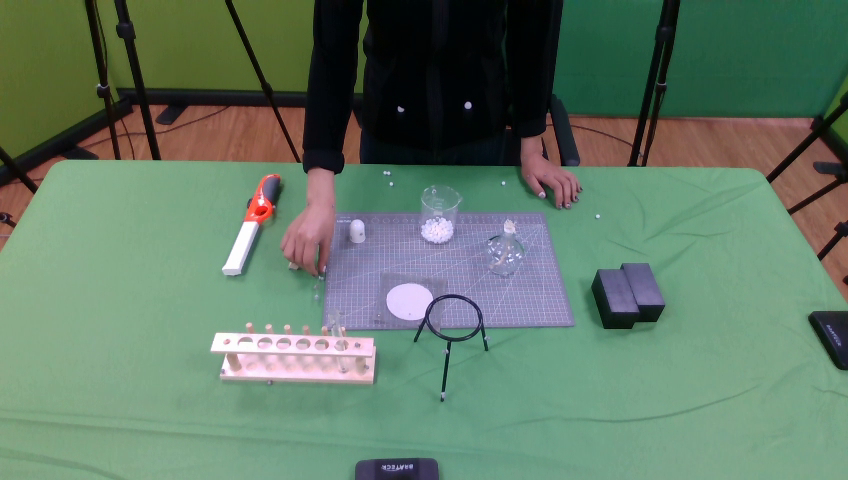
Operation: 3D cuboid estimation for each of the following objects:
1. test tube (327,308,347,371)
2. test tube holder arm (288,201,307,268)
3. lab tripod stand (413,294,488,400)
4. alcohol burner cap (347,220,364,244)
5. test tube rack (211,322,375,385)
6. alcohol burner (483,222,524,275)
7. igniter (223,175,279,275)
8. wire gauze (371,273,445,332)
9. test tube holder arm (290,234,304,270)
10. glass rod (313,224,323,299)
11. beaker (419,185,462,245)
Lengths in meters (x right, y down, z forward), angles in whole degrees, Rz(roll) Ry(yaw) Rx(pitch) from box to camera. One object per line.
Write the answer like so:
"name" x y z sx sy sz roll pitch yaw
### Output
"test tube" -0.132 0.155 0.926 0.017 0.151 0.017 0 45 0
"test tube holder arm" -0.248 -0.014 1.193 0.013 0.015 0.177 31 38 -29
"lab tripod stand" 0.045 0.159 0.972 0.148 0.132 0.147 2 44 -2
"alcohol burner cap" -0.135 -0.019 1.190 0.034 0.048 0.033 3 45 -2
"test tube rack" -0.202 0.176 0.969 0.242 0.085 0.066 3 46 -2
"alcohol burner" 0.152 0.010 1.136 0.078 0.119 0.077 4 46 -4
"igniter" -0.341 -0.039 1.206 0.057 0.025 0.275 -1 45 8
"wire gauze" -0.028 0.109 1.100 0.125 0.011 0.121 7 45 4
"test tube holder arm" -0.243 0.021 1.165 0.010 0.015 0.087 32 37 -28
"glass rod" -0.202 0.037 1.157 0.008 0.008 0.198 -1 43 -4
"beaker" 0.029 -0.047 1.191 0.084 0.101 0.073 -5 47 -10
